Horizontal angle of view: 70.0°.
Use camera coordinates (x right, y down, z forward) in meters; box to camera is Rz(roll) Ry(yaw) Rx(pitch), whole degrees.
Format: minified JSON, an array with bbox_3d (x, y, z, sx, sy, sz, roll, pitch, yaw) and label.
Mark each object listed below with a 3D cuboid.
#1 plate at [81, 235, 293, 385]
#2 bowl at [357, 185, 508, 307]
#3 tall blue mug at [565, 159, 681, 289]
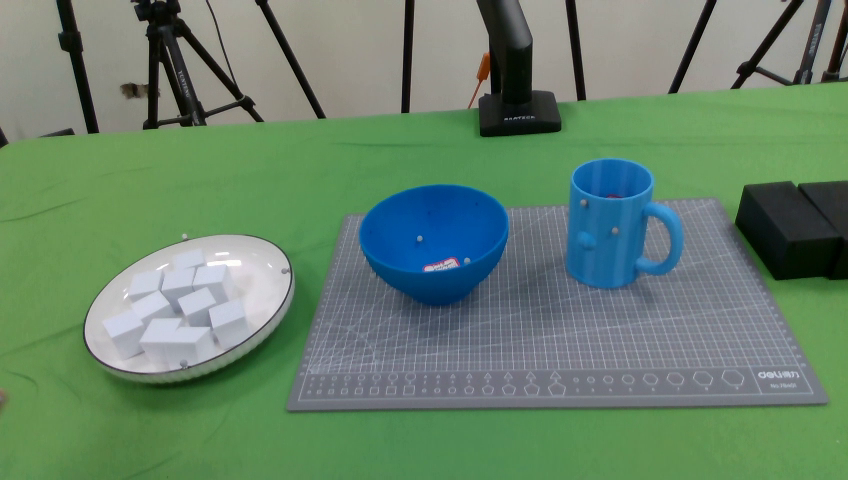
[{"bbox_3d":[-0.237,0.071,0.626,0.209,0.038,0.207,-4,37,3],"label":"plate"},{"bbox_3d":[0.012,0.016,0.620,0.151,0.077,0.150,-4,37,4],"label":"bowl"},{"bbox_3d":[0.197,-0.014,0.603,0.107,0.109,0.077,5,38,16],"label":"tall blue mug"}]
